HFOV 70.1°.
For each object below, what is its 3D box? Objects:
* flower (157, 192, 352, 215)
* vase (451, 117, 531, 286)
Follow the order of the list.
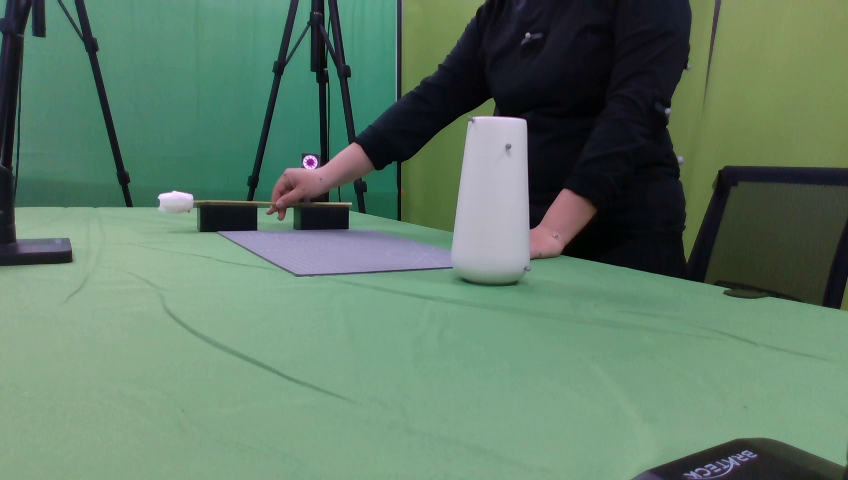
[{"bbox_3d":[-0.313,-0.076,1.160,0.363,0.038,0.044,-4,-24,-24],"label":"flower"},{"bbox_3d":[0.083,-0.047,0.737,0.098,0.200,0.098,1,6,0],"label":"vase"}]
